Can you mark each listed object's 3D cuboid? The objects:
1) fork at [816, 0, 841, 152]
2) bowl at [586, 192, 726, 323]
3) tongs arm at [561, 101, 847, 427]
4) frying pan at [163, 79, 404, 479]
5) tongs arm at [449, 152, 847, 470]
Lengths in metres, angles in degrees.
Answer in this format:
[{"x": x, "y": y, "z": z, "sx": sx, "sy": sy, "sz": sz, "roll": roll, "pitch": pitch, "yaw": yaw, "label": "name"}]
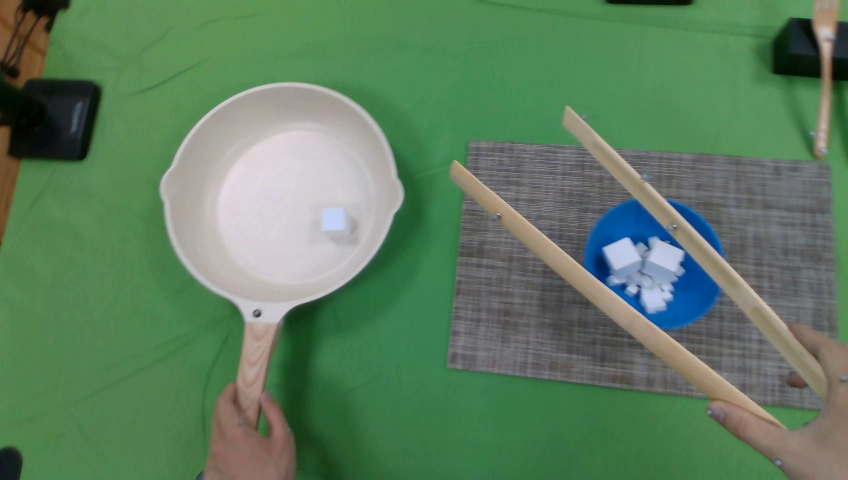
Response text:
[{"x": 0.489, "y": -0.211, "z": 0.736, "sx": 0.028, "sy": 0.018, "sz": 0.207, "roll": -2, "pitch": 97, "yaw": 1, "label": "fork"}, {"x": 0.260, "y": 0.026, "z": 0.705, "sx": 0.151, "sy": 0.077, "sz": 0.150, "roll": -1, "pitch": 77, "yaw": 5, "label": "bowl"}, {"x": 0.220, "y": 0.008, "z": 0.519, "sx": 0.051, "sy": 0.027, "sz": 0.381, "roll": -23, "pitch": 58, "yaw": -21, "label": "tongs arm"}, {"x": -0.184, "y": 0.037, "z": 0.737, "sx": 0.306, "sy": 0.103, "sz": 0.484, "roll": 4, "pitch": 69, "yaw": 7, "label": "frying pan"}, {"x": 0.156, "y": 0.041, "z": 0.491, "sx": 0.028, "sy": 0.028, "sz": 0.384, "roll": -32, "pitch": 61, "yaw": -30, "label": "tongs arm"}]
